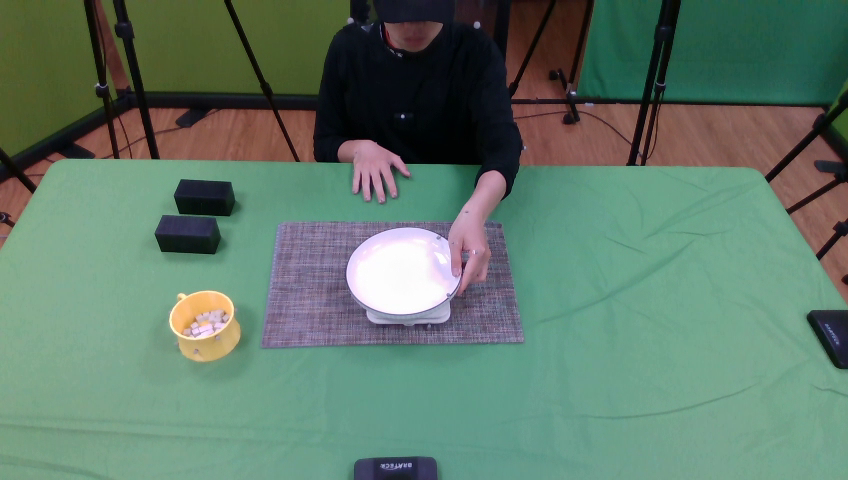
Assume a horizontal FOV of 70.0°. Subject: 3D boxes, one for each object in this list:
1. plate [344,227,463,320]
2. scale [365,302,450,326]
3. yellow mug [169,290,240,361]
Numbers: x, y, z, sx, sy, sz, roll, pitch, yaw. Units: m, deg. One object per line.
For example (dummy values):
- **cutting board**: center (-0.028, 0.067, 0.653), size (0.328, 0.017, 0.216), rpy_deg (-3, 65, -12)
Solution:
- **plate**: center (-0.035, 0.061, 1.069), size (0.209, 0.038, 0.208), rpy_deg (-1, 46, 1)
- **scale**: center (-0.032, 0.071, 1.113), size (0.149, 0.032, 0.199), rpy_deg (0, 46, -4)
- **yellow mug**: center (-0.373, 0.133, 1.009), size (0.130, 0.064, 0.100), rpy_deg (35, 53, 27)
